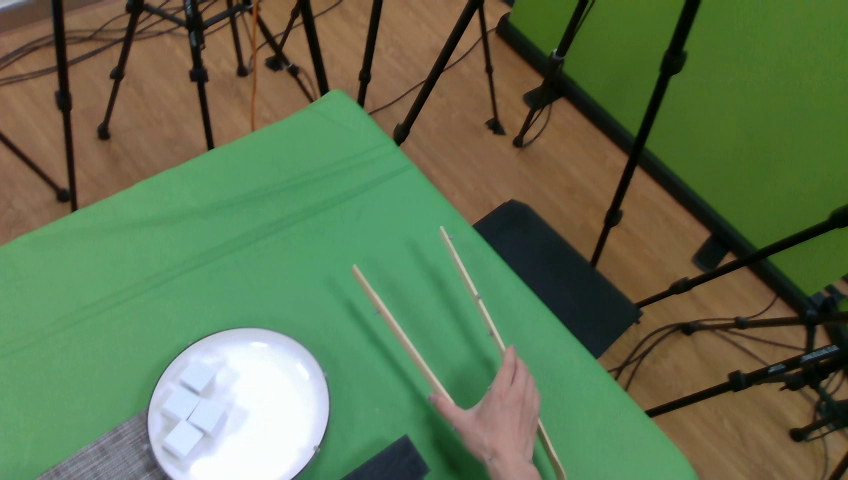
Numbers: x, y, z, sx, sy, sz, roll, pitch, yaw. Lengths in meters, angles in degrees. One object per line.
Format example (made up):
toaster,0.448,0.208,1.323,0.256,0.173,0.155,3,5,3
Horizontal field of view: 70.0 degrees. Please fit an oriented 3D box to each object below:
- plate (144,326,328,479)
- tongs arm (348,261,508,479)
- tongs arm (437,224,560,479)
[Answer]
plate,-0.220,0.206,0.727,0.208,0.039,0.205,6,59,-9
tongs arm,0.017,0.178,0.768,0.028,0.028,0.385,-31,74,-28
tongs arm,0.083,0.150,0.794,0.051,0.026,0.382,-19,70,-21
